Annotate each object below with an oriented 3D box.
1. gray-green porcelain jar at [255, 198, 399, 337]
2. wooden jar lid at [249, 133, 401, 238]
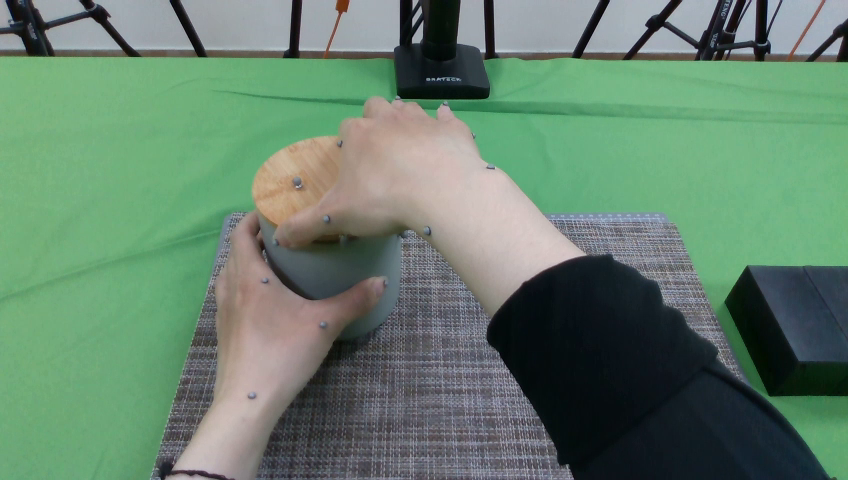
[{"bbox_3d":[-0.074,0.007,0.484,0.106,0.127,0.105,2,45,-2],"label":"gray-green porcelain jar"},{"bbox_3d":[-0.070,-0.038,0.438,0.108,0.021,0.107,2,47,-2],"label":"wooden jar lid"}]
